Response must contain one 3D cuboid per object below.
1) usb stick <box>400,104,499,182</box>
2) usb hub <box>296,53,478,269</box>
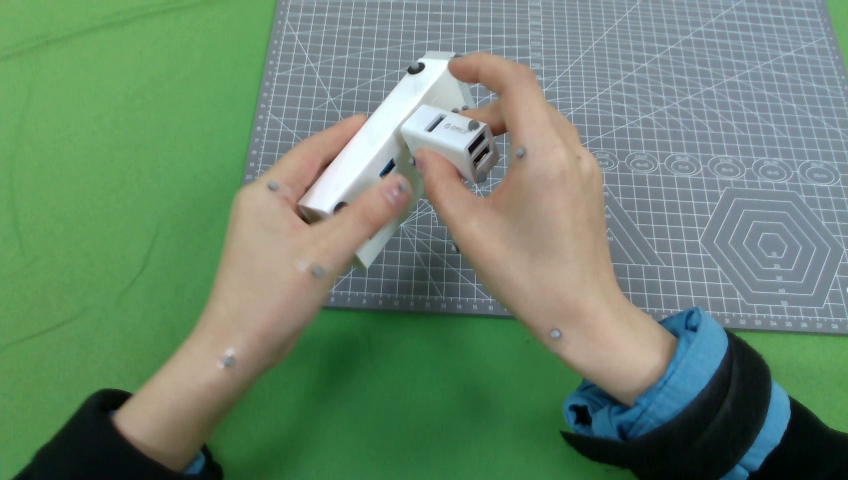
[{"bbox_3d":[0.008,-0.051,0.307,0.058,0.027,0.021,25,68,42],"label":"usb stick"},{"bbox_3d":[-0.015,-0.047,0.336,0.025,0.050,0.124,15,58,37],"label":"usb hub"}]
